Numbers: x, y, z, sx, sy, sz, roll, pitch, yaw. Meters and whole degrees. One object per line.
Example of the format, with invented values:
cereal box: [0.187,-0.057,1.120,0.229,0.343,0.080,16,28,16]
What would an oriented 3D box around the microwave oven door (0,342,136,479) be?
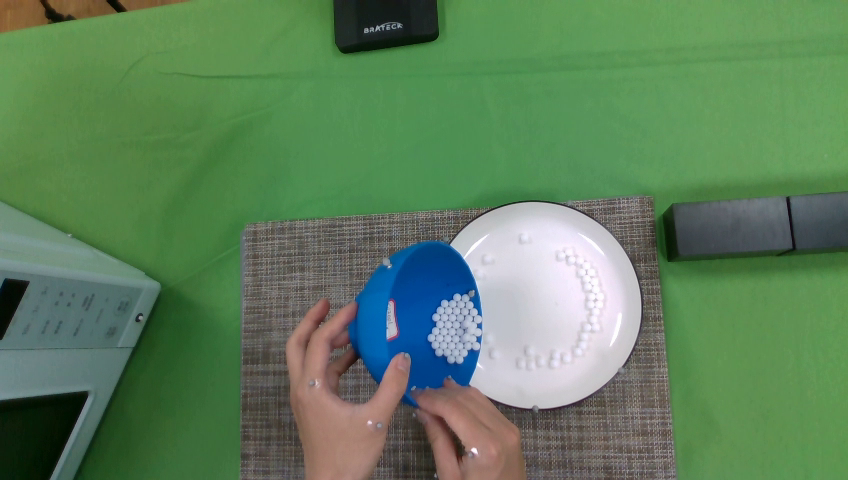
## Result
microwave oven door: [-0.431,0.258,0.561,0.039,0.245,0.355,23,86,14]

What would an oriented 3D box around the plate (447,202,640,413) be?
plate: [0.107,0.067,0.611,0.207,0.039,0.207,-2,81,10]

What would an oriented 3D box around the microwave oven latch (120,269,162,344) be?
microwave oven latch: [-0.322,0.075,0.674,0.030,0.029,0.079,25,87,13]

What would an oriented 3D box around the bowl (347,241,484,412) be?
bowl: [-0.017,0.078,0.557,0.076,0.152,0.151,-5,79,36]

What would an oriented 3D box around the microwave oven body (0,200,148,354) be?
microwave oven body: [-0.545,0.165,0.601,0.325,0.261,0.441,23,87,12]
